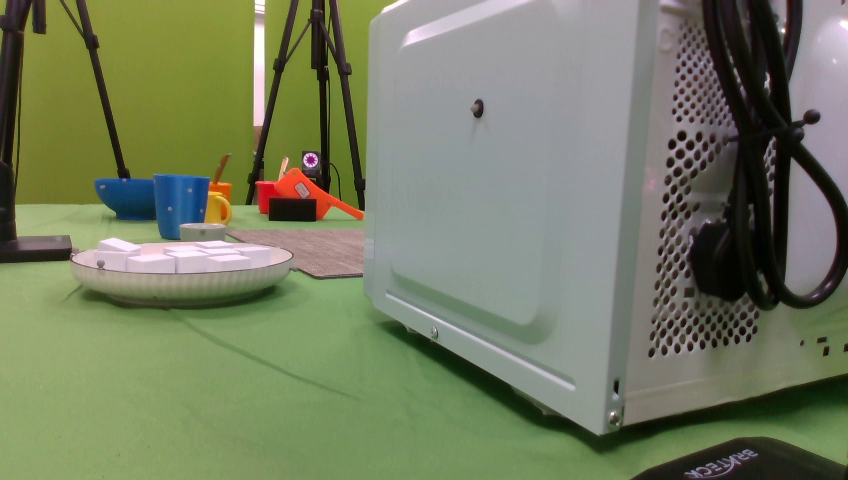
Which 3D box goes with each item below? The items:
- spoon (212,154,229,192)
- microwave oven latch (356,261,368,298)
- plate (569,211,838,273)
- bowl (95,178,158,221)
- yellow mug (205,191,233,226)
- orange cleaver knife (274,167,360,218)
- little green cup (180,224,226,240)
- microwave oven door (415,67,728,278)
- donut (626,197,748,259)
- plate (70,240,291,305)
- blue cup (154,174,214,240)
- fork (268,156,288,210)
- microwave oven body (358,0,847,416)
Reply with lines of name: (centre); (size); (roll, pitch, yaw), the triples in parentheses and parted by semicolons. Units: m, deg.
spoon: (-0.431, -0.115, 1.253); (0.042, 0.193, 0.021); (-3, 53, -33)
microwave oven latch: (-0.019, 0.033, 0.530); (0.079, 0.029, 0.030); (0, 7, -25)
plate: (0.230, -0.001, 0.519); (0.209, 0.038, 0.209); (2, 6, 0)
bowl: (-0.576, -0.081, 1.217); (0.151, 0.077, 0.151); (3, 8, 0)
yellow mug: (-0.415, -0.057, 1.131); (0.130, 0.064, 0.100); (6, 8, 16)
orange cleaver knife: (-0.238, -0.091, 1.381); (0.212, 0.077, 0.012); (31, 0, -19)
little green cup: (-0.309, -0.001, 0.846); (0.061, 0.038, 0.061); (2, 8, 0)
microwave oven door: (0.168, -0.089, 0.745); (0.355, 0.243, 0.039); (4, 8, 14)
donut: (0.224, -0.010, 0.519); (0.099, 0.048, 0.099); (7, 9, -1)
plate: (-0.242, 0.031, 0.618); (0.208, 0.039, 0.207); (2, 8, 0)
blue cup: (-0.391, -0.053, 0.978); (0.093, 0.100, 0.092); (3, 6, 0)
fork: (-0.360, -0.144, 1.508); (0.028, 0.018, 0.207); (1, 49, 0)
microwave oven body: (0.211, -0.047, 0.474); (0.444, 0.260, 0.324); (-1, 7, -28)
